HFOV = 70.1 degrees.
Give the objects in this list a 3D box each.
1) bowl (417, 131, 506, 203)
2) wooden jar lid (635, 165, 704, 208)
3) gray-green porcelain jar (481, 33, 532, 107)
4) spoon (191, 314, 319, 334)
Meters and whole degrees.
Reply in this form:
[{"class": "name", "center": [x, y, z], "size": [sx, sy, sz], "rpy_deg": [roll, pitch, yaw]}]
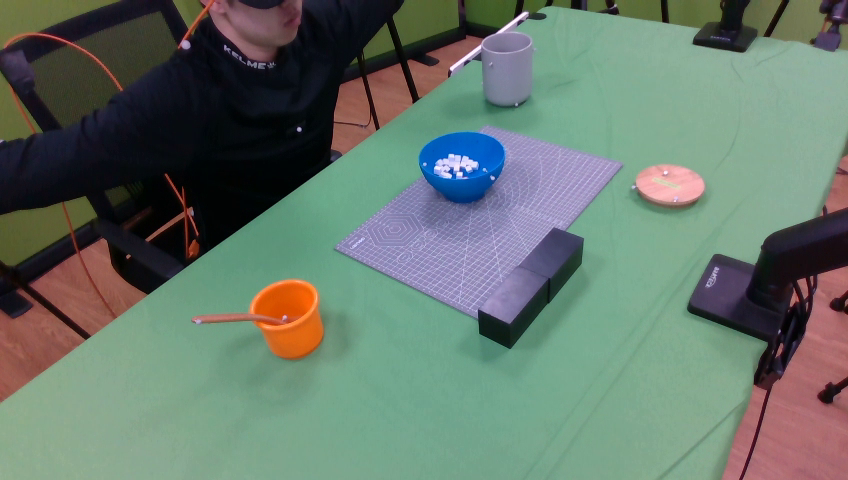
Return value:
[{"class": "bowl", "center": [0.068, -0.117, 1.048], "size": [0.151, 0.077, 0.150], "rpy_deg": [-4, 41, 4]}, {"class": "wooden jar lid", "center": [0.410, -0.089, 1.014], "size": [0.108, 0.021, 0.108], "rpy_deg": [-5, 42, 5]}, {"class": "gray-green porcelain jar", "center": [0.175, -0.355, 1.278], "size": [0.106, 0.127, 0.105], "rpy_deg": [-4, 41, 4]}, {"class": "spoon", "center": [-0.213, 0.105, 0.780], "size": [0.041, 0.195, 0.021], "rpy_deg": [29, 97, 37]}]
